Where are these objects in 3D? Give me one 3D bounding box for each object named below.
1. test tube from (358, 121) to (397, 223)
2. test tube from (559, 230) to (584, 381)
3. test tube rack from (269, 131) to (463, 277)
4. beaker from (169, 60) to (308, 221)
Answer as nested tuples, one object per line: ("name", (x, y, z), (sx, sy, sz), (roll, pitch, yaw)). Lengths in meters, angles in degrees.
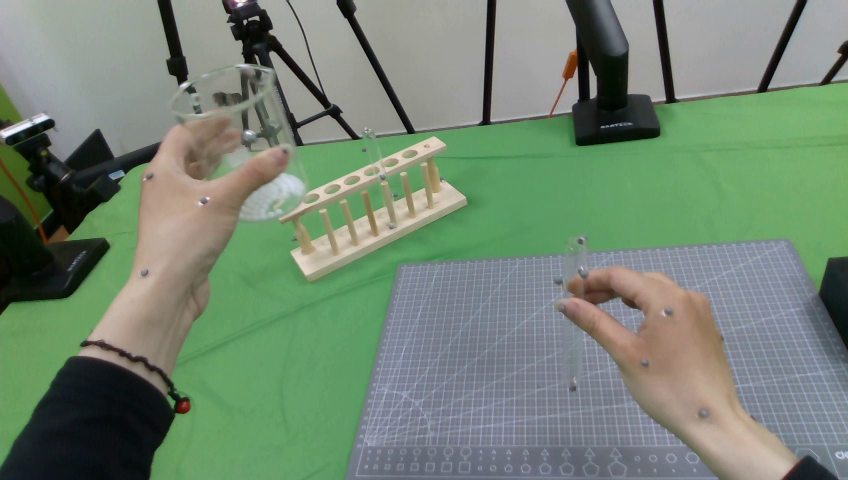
("test tube", (-0.058, -0.084, 0.769), (0.017, 0.152, 0.017), (-9, 38, 7))
("test tube", (0.112, 0.056, 0.465), (0.017, 0.151, 0.017), (-5, 37, 4))
("test tube rack", (-0.072, -0.051, 0.805), (0.242, 0.086, 0.066), (-27, 40, -16))
("beaker", (-0.129, -0.072, 0.450), (0.073, 0.101, 0.084), (26, 52, 33))
